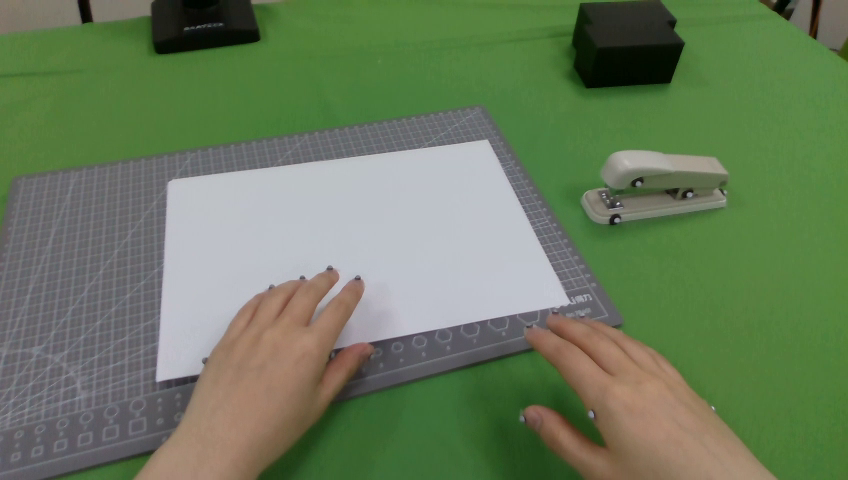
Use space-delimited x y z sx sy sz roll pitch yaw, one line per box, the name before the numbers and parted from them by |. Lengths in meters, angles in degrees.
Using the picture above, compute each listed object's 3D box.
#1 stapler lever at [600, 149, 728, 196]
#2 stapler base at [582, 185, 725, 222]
stapler lever | 0.211 -0.062 0.527 0.118 0.040 0.026 -8 50 -11
stapler base | 0.208 -0.045 0.544 0.131 0.024 0.041 -8 50 -12
